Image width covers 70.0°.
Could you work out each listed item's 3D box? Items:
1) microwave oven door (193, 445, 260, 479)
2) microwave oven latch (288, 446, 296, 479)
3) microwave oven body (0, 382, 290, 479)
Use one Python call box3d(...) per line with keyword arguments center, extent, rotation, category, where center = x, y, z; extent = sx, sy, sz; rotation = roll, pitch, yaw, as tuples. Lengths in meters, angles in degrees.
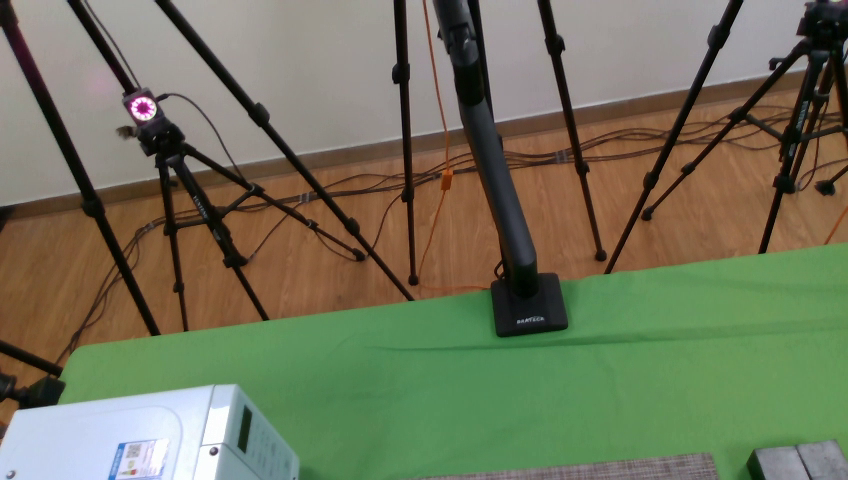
box3d(center=(-0.215, 0.438, 0.658), extent=(0.039, 0.246, 0.352), rotation=(-9, 48, 6), category="microwave oven door")
box3d(center=(-0.204, 0.343, 0.877), extent=(0.030, 0.030, 0.078), rotation=(-8, 49, 6), category="microwave oven latch")
box3d(center=(-0.360, 0.433, 0.704), extent=(0.326, 0.263, 0.437), rotation=(-8, 49, 5), category="microwave oven body")
